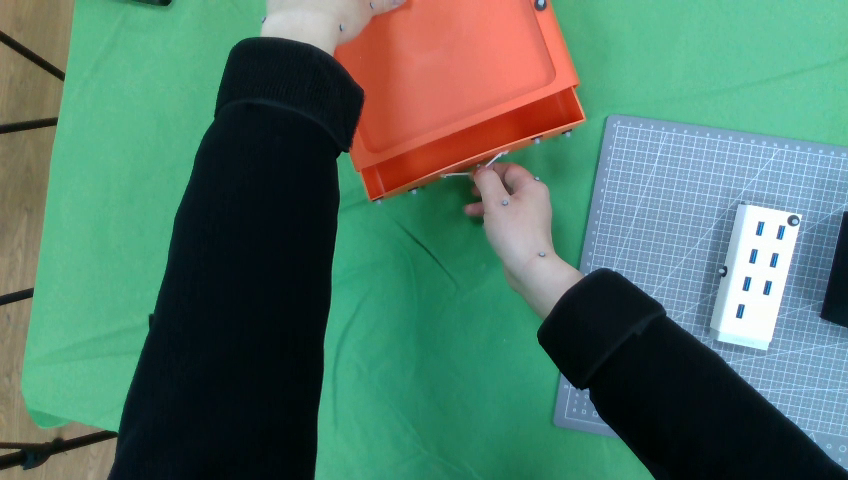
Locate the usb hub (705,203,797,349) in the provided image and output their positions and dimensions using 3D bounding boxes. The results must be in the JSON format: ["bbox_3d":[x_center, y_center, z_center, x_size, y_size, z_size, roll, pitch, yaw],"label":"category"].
[{"bbox_3d":[0.294,0.032,0.547,0.049,0.025,0.125,11,96,4],"label":"usb hub"}]

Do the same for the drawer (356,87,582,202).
[{"bbox_3d":[0.009,-0.162,0.532,0.194,0.073,0.212,-20,92,8],"label":"drawer"}]

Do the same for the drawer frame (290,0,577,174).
[{"bbox_3d":[-0.001,-0.189,0.528,0.201,0.083,0.213,-21,92,7],"label":"drawer frame"}]
